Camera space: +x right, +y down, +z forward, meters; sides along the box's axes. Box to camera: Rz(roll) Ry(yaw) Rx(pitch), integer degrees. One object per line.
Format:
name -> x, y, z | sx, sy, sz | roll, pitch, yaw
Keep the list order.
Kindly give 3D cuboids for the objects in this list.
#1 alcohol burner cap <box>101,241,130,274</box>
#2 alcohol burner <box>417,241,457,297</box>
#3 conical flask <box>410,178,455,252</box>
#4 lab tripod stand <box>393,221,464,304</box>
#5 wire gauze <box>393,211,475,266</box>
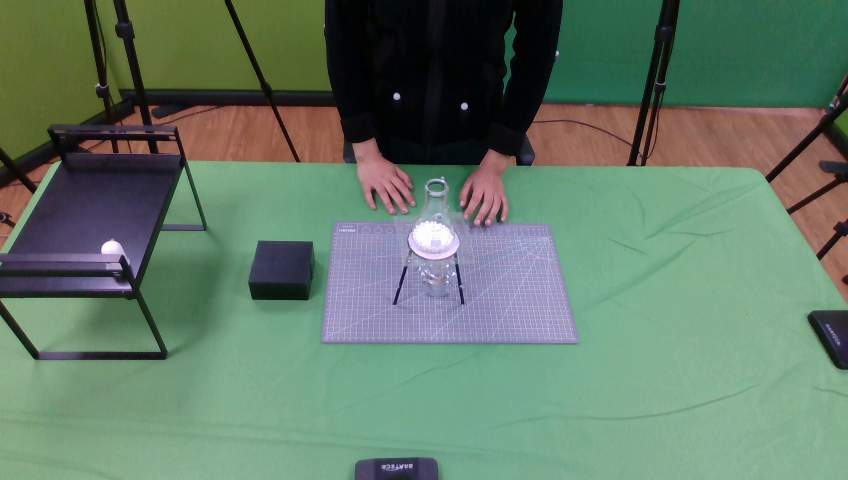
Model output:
alcohol burner cap -> -0.449, 0.022, 0.878 | 0.034, 0.048, 0.033 | 3, 45, -2
alcohol burner -> 0.026, 0.046, 1.089 | 0.078, 0.120, 0.077 | 1, 46, -1
conical flask -> 0.017, -0.043, 0.987 | 0.075, 0.122, 0.075 | 2, 47, -2
lab tripod stand -> 0.010, 0.045, 1.075 | 0.148, 0.132, 0.147 | 2, 48, -2
wire gauze -> 0.015, -0.002, 1.029 | 0.125, 0.011, 0.120 | -6, 45, -6
